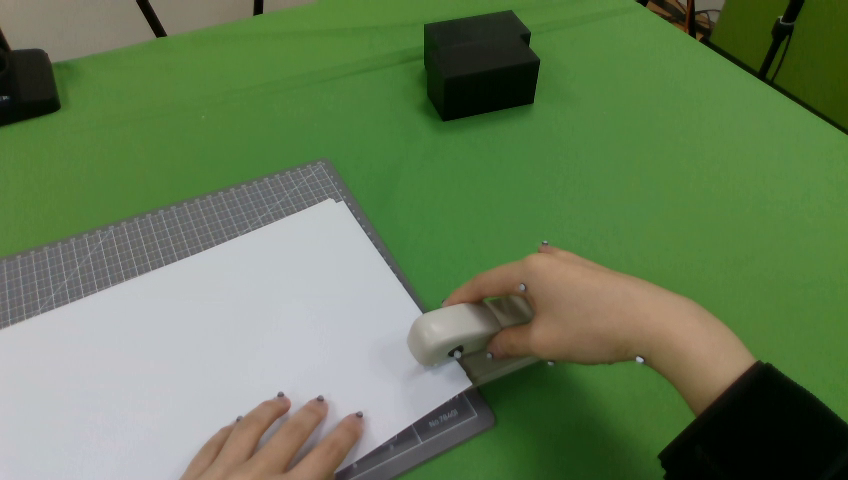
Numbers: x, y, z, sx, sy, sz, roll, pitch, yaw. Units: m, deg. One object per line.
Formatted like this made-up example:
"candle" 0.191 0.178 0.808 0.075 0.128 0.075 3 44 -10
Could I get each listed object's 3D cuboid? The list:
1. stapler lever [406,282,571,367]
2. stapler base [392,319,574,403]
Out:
"stapler lever" 0.045 0.051 0.397 0.118 0.040 0.026 -17 51 -21
"stapler base" 0.042 0.069 0.414 0.131 0.024 0.041 -17 52 -21
